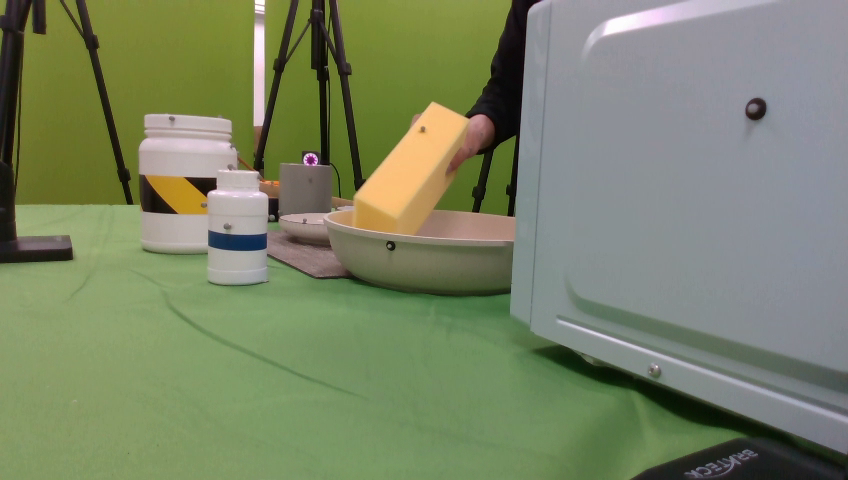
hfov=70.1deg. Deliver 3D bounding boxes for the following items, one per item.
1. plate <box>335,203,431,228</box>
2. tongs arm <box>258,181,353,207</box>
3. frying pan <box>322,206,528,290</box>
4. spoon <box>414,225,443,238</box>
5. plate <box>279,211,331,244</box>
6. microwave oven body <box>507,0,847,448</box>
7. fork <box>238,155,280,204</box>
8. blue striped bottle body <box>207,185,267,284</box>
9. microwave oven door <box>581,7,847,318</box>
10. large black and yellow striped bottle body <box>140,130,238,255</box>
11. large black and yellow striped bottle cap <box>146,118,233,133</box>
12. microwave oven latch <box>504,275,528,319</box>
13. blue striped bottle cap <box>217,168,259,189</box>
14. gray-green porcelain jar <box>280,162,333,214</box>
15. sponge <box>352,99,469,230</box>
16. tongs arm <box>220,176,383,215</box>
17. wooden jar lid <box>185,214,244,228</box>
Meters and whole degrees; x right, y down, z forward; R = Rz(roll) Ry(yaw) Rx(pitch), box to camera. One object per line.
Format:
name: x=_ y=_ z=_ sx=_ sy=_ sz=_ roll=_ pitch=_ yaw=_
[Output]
plate: x=-0.089 y=-0.053 z=1.309 sx=0.208 sy=0.039 sz=0.207 roll=2 pitch=8 yaw=0
tongs arm: x=-0.241 y=-0.095 z=1.373 sx=0.387 sy=0.026 sz=0.050 roll=9 pitch=0 yaw=-37
frying pan: x=0.109 y=-0.017 z=0.800 sx=0.490 sy=0.102 sz=0.305 roll=-12 pitch=16 yaw=-30
spoon: x=0.016 y=-0.020 z=1.113 sx=0.041 sy=0.021 sz=0.194 roll=-14 pitch=3 yaw=12
plate: x=-0.139 y=-0.022 z=1.021 sx=0.209 sy=0.038 sz=0.209 roll=3 pitch=8 yaw=0
microwave oven body: x=0.331 y=-0.042 z=0.425 sx=0.444 sy=0.260 sz=0.324 roll=-2 pitch=8 yaw=-31
fork: x=-0.396 y=-0.143 z=1.487 sx=0.028 sy=0.018 sz=0.208 roll=19 pitch=-27 yaw=44
blue striped bottle body: x=-0.204 y=-0.016 z=0.663 sx=0.063 sy=0.120 sz=0.063 roll=2 pitch=7 yaw=0
microwave oven door: x=0.295 y=-0.067 z=0.570 sx=0.358 sy=0.243 sz=0.039 roll=-3 pitch=8 yaw=-31
large black and yellow striped bottle body: x=-0.336 y=-0.078 z=0.872 sx=0.131 sy=0.184 sz=0.130 roll=2 pitch=8 yaw=0
large black and yellow striped bottle cap: x=-0.333 y=-0.163 z=0.861 sx=0.115 sy=0.019 sz=0.115 roll=1 pitch=9 yaw=0
microwave oven latch: x=0.100 y=0.042 z=0.471 sx=0.079 sy=0.029 sz=0.030 roll=-1 pitch=7 yaw=-28
blue striped bottle cap: x=-0.202 y=-0.067 z=0.657 sx=0.044 sy=0.020 sz=0.044 roll=1 pitch=10 yaw=0
gray-green porcelain jar: x=-0.238 y=-0.092 z=1.221 sx=0.106 sy=0.126 sz=0.106 roll=2 pitch=7 yaw=0
sponge: x=-0.018 y=-0.077 z=0.806 sx=0.061 sy=0.118 sz=0.207 roll=27 pitch=55 yaw=9
tongs arm: x=-0.285 y=-0.104 z=1.445 sx=0.389 sy=0.027 sz=0.028 roll=9 pitch=-4 yaw=-23
wooden jar lid: x=-0.404 y=-0.037 z=1.169 sx=0.108 sy=0.020 sz=0.108 roll=3 pitch=7 yaw=0
